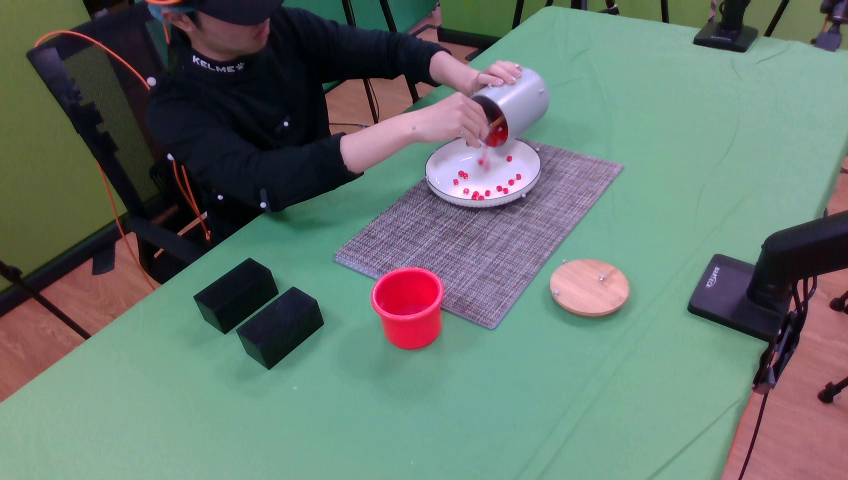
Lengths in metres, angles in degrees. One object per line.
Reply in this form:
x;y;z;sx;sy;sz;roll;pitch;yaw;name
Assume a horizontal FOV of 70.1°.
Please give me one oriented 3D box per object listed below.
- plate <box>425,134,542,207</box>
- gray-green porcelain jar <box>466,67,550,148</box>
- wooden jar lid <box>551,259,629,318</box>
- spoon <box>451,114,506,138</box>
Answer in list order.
0.105;-0.122;1.079;0.207;0.039;0.206;-4;41;4;plate
0.155;-0.242;1.088;0.127;0.106;0.105;-39;49;-26;gray-green porcelain jar
0.234;0.070;0.857;0.108;0.021;0.108;-5;40;4;wooden jar lid
0.119;-0.203;1.054;0.195;0.022;0.041;-29;16;-35;spoon
